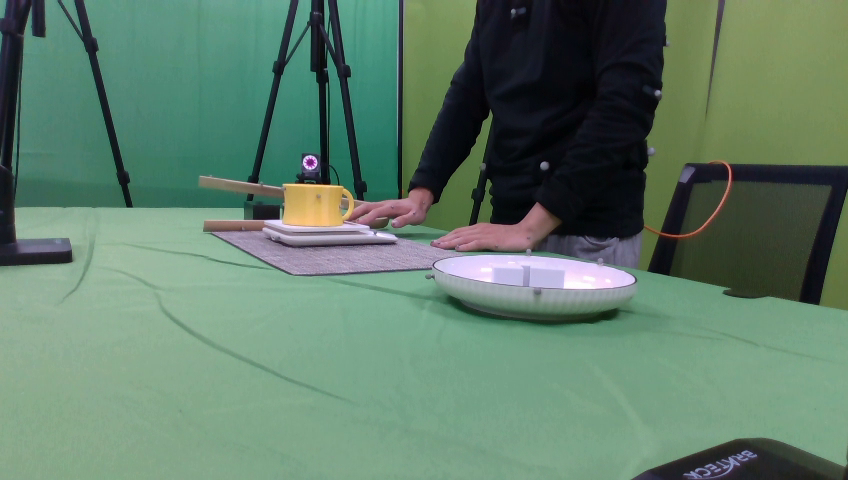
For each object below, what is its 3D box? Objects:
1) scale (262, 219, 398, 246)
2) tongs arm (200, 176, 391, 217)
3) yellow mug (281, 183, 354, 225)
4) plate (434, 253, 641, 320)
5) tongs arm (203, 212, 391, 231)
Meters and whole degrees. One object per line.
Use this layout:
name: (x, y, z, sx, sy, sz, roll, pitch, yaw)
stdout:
scale: (-0.160, -0.016, 1.028, 0.202, 0.031, 0.148, -1, 9, -32)
tongs arm: (-0.258, -0.084, 1.245, 0.387, 0.026, 0.050, 6, 32, -22)
yellow mug: (-0.172, -0.061, 1.009, 0.131, 0.064, 0.099, -2, 8, -41)
plate: (0.114, 0.047, 0.626, 0.208, 0.039, 0.207, 2, 7, 0)
tongs arm: (-0.231, -0.035, 1.185, 0.390, 0.028, 0.028, -3, 33, -33)
